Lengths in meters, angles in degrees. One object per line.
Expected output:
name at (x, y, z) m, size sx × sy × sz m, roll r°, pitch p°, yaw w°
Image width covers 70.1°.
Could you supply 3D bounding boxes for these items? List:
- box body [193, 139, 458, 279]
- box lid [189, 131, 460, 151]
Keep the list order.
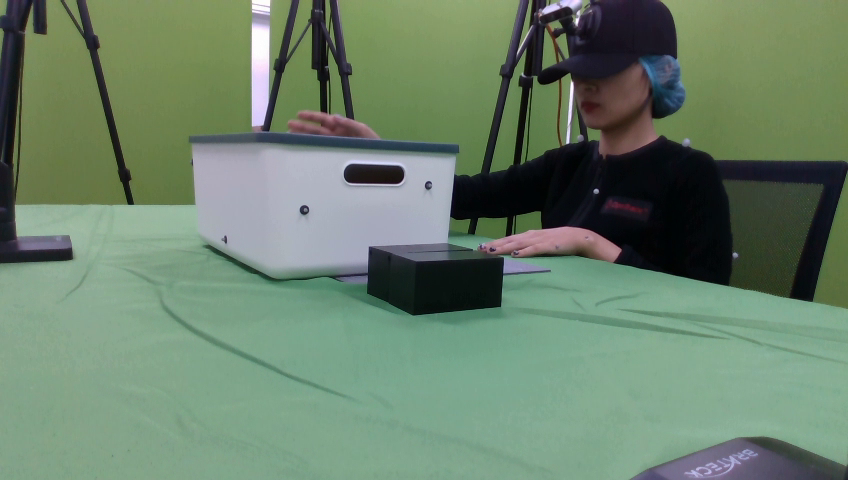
box body at (-0.154, -0.059, 0.840) m, size 0.255 × 0.160 × 0.362 m, roll -2°, pitch 9°, yaw -33°
box lid at (-0.150, -0.132, 0.828) m, size 0.265 × 0.015 × 0.369 m, roll -3°, pitch 9°, yaw -33°
